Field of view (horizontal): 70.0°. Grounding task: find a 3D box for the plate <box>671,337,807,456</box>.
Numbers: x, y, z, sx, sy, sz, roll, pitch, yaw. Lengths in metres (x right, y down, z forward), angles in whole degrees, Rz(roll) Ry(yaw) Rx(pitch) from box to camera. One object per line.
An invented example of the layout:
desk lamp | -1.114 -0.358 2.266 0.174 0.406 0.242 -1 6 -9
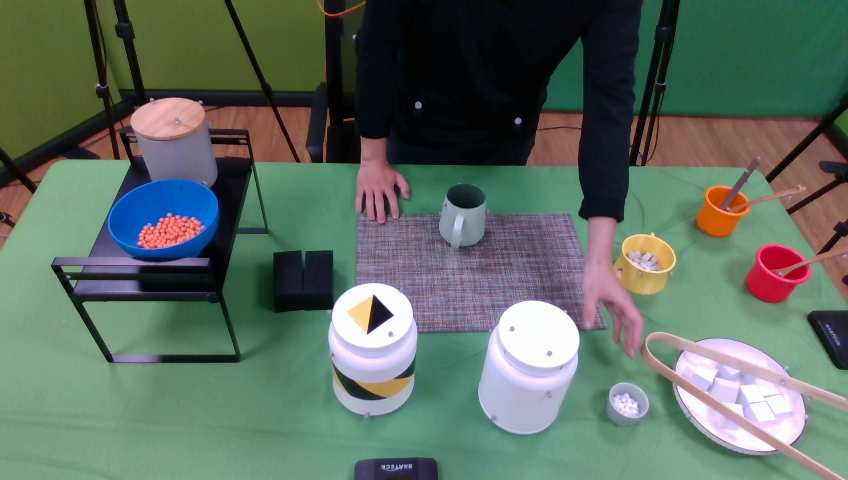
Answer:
plate | 0.504 0.254 0.984 0.208 0.039 0.206 2 46 -2

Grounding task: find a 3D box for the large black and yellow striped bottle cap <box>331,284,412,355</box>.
large black and yellow striped bottle cap | -0.073 0.110 0.857 0.115 0.019 0.114 2 46 -2

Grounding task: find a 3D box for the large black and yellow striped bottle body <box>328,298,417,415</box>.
large black and yellow striped bottle body | -0.078 0.167 0.920 0.131 0.185 0.130 2 46 -2

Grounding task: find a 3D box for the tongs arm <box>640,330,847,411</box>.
tongs arm | 0.543 0.226 0.969 0.384 0.026 0.050 22 52 13

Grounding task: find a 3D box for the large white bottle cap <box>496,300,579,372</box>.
large white bottle cap | 0.160 0.133 0.853 0.115 0.018 0.114 3 46 -2

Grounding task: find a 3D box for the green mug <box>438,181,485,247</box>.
green mug | 0.071 -0.039 1.177 0.092 0.105 0.124 12 47 7

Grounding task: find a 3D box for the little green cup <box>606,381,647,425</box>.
little green cup | 0.319 0.261 0.962 0.061 0.039 0.061 2 45 -2

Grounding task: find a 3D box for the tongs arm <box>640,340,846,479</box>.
tongs arm | 0.500 0.277 0.919 0.386 0.028 0.028 34 59 22

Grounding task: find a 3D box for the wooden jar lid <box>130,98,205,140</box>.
wooden jar lid | -0.393 -0.183 0.934 0.108 0.021 0.107 3 44 -2

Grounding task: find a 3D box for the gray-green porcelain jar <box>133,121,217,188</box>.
gray-green porcelain jar | -0.397 -0.141 0.980 0.106 0.127 0.105 2 47 -2

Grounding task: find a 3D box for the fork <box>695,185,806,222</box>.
fork | 0.658 -0.074 1.230 0.207 0.019 0.028 -23 37 37

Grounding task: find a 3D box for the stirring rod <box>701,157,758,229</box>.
stirring rod | 0.634 -0.097 1.257 0.014 0.006 0.176 38 97 29

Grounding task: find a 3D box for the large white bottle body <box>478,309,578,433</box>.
large white bottle body | 0.156 0.192 0.913 0.131 0.185 0.130 2 46 -2

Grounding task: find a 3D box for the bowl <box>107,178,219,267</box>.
bowl | -0.374 -0.014 0.894 0.151 0.077 0.150 2 46 -2

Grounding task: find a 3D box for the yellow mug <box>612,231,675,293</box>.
yellow mug | 0.423 0.033 1.168 0.100 0.064 0.130 18 46 13

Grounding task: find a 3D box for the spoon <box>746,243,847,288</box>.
spoon | 0.702 0.044 1.126 0.194 0.022 0.041 -29 38 30
